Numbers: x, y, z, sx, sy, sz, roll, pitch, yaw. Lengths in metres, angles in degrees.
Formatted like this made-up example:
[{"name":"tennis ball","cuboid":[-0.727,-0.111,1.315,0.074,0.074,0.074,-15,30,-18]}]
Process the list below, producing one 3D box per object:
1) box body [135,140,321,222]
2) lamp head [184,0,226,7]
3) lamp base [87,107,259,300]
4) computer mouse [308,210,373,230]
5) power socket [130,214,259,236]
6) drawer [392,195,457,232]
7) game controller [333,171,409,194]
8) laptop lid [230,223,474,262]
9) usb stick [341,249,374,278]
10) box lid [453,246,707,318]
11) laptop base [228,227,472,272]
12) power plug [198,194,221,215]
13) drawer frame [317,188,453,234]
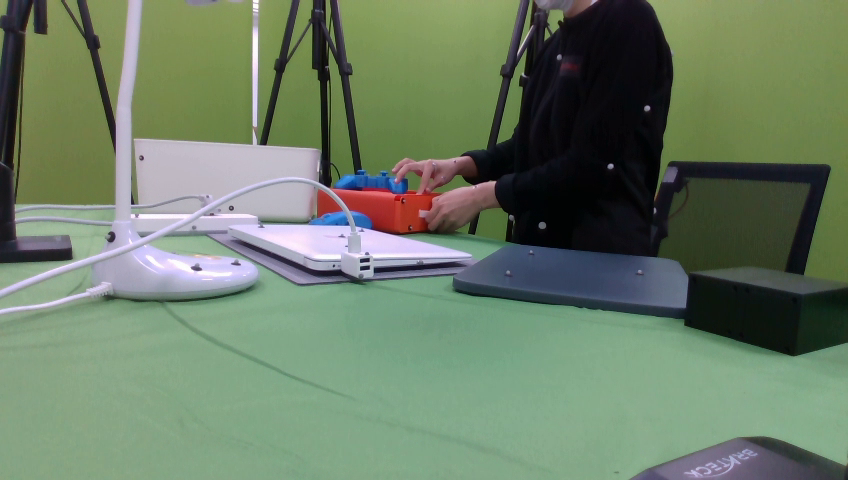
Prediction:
[{"name":"box body","cuboid":[-0.420,-0.133,1.354,0.365,0.160,0.253,2,7,-8]},{"name":"lamp head","cuboid":[-0.229,-0.320,0.627,0.112,0.112,0.123,6,-35,26]},{"name":"lamp base","cuboid":[-0.254,-0.039,0.603,0.160,0.180,0.179,5,10,18]},{"name":"computer mouse","cuboid":[-0.157,-0.034,1.138,0.118,0.041,0.062,-6,12,-28]},{"name":"power socket","cuboid":[-0.397,-0.028,1.048,0.228,0.032,0.072,-3,7,-35]},{"name":"drawer","cuboid":[-0.069,-0.065,1.274,0.211,0.073,0.195,7,9,35]},{"name":"game controller","cuboid":[-0.107,-0.121,1.289,0.155,0.051,0.097,5,5,10]},{"name":"laptop lid","cuboid":[-0.121,0.000,0.888,0.243,0.013,0.355,1,7,-33]},{"name":"usb stick","cuboid":[-0.079,0.026,0.686,0.021,0.027,0.059,-7,9,-30]},{"name":"box lid","cuboid":[0.204,0.044,0.780,0.262,0.015,0.372,5,7,17]},{"name":"laptop base","cuboid":[-0.124,0.011,0.889,0.237,0.023,0.352,2,6,-35]},{"name":"power plug","cuboid":[-0.386,-0.055,1.088,0.035,0.052,0.072,-2,7,-24]},{"name":"drawer frame","cuboid":[-0.082,-0.068,1.283,0.212,0.082,0.203,7,9,35]}]
